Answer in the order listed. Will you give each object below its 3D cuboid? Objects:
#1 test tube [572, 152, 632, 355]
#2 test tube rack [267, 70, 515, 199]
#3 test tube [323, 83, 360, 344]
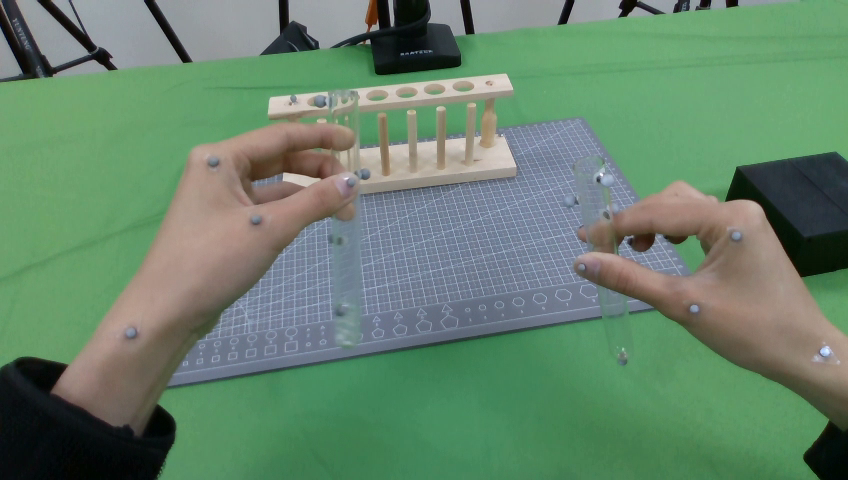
[{"bbox_3d":[0.101,0.015,0.334,0.017,0.152,0.017,-13,40,12],"label":"test tube"},{"bbox_3d":[-0.030,-0.109,0.622,0.242,0.086,0.066,-7,43,-4],"label":"test tube rack"},{"bbox_3d":[-0.044,-0.009,0.333,0.017,0.151,0.017,1,22,0],"label":"test tube"}]
